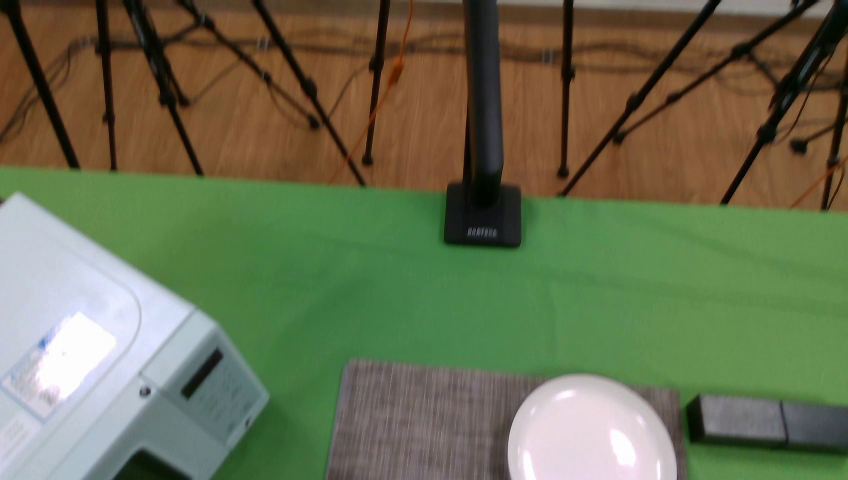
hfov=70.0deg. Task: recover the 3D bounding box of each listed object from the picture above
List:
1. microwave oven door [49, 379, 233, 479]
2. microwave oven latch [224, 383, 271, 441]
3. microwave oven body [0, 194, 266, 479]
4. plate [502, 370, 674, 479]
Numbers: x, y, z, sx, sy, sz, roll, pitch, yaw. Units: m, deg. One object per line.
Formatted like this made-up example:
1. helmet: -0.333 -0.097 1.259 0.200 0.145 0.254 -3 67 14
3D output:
1. microwave oven door: -0.348 0.321 0.591 0.039 0.246 0.354 27 63 17
2. microwave oven latch: -0.230 0.214 0.773 0.030 0.030 0.079 30 64 16
3. microwave oven body: -0.450 0.228 0.653 0.324 0.262 0.440 28 64 16
4. plate: 0.201 0.268 0.755 0.208 0.039 0.205 0 59 0
